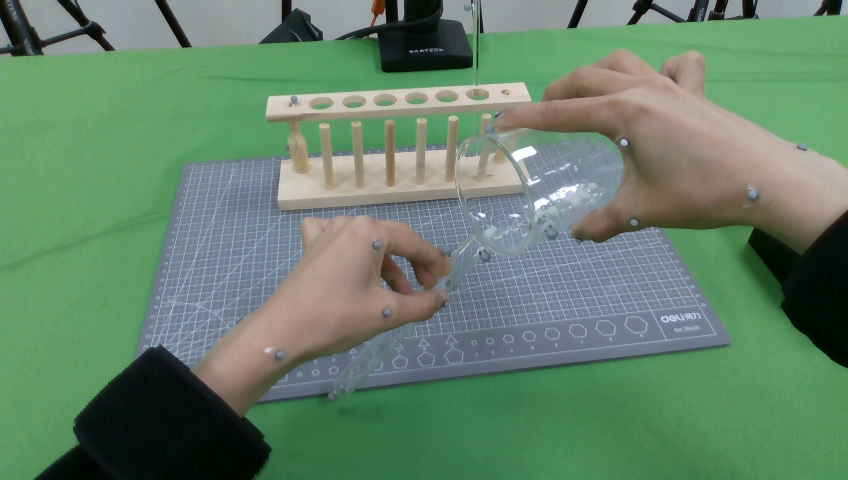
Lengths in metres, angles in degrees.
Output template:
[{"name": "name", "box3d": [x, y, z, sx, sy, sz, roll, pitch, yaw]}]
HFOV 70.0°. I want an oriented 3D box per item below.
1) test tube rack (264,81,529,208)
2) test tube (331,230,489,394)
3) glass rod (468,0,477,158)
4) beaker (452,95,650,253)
[{"name": "test tube rack", "box3d": [-0.023, -0.092, 0.579, 0.243, 0.086, 0.066, -5, 44, -5]}, {"name": "test tube", "box3d": [-0.013, 0.051, 0.400, 0.150, 0.017, 0.017, -47, 47, 16]}, {"name": "glass rod", "box3d": [0.045, -0.166, 0.561, 0.008, 0.201, 0.008, -2, 37, 2]}, {"name": "beaker", "box3d": [0.078, -0.042, 0.369, 0.100, 0.084, 0.073, -22, 60, -24]}]
